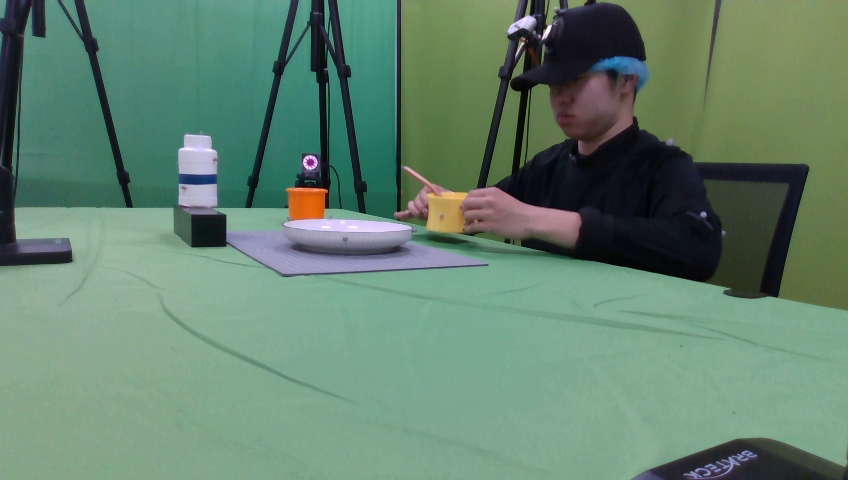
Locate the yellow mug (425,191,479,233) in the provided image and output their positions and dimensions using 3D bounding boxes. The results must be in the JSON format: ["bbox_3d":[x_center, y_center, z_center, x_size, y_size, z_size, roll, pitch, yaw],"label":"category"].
[{"bbox_3d":[0.059,-0.050,1.113,0.100,0.064,0.130,-4,12,-24],"label":"yellow mug"}]

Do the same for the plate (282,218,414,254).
[{"bbox_3d":[-0.121,-0.007,0.971,0.208,0.039,0.207,2,7,0],"label":"plate"}]

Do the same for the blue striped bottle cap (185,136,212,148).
[{"bbox_3d":[-0.390,-0.169,1.047,0.044,0.020,0.044,4,10,0],"label":"blue striped bottle cap"}]

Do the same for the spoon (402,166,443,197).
[{"bbox_3d":[0.020,-0.090,1.152,0.042,0.021,0.193,-5,43,-46],"label":"spoon"}]

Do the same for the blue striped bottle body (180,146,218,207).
[{"bbox_3d":[-0.392,-0.119,1.053,0.063,0.120,0.063,2,8,0],"label":"blue striped bottle body"}]
